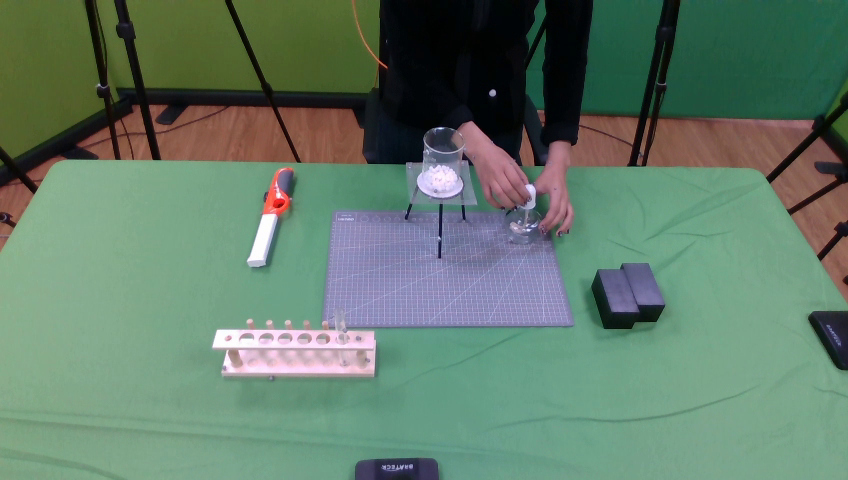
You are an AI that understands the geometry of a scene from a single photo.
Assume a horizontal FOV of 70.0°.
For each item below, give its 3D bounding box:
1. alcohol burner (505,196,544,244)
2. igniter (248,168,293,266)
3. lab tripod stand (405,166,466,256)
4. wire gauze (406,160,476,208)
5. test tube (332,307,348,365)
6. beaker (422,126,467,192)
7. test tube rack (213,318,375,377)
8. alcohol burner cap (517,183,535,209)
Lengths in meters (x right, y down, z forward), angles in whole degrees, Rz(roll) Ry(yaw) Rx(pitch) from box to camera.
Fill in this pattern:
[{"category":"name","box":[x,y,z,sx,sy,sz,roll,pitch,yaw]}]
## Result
[{"category":"alcohol burner","box":[0.200,-0.049,1.192,0.078,0.119,0.077,2,48,-2]},{"category":"igniter","box":[-0.307,-0.055,1.225,0.057,0.025,0.275,-3,46,6]},{"category":"lab tripod stand","box":[0.030,-0.063,1.180,0.148,0.132,0.147,3,47,-3]},{"category":"wire gauze","box":[0.031,-0.107,1.130,0.125,0.011,0.120,1,48,-7]},{"category":"test tube","box":[-0.128,0.151,0.931,0.017,0.151,0.017,1,50,-2]},{"category":"beaker","box":[0.032,-0.146,1.100,0.074,0.101,0.083,-16,50,-19]},{"category":"test tube rack","box":[-0.202,0.169,0.977,0.242,0.085,0.066,1,46,-3]},{"category":"alcohol burner cap","box":[0.196,-0.087,1.158,0.034,0.048,0.033,-3,43,3]}]
